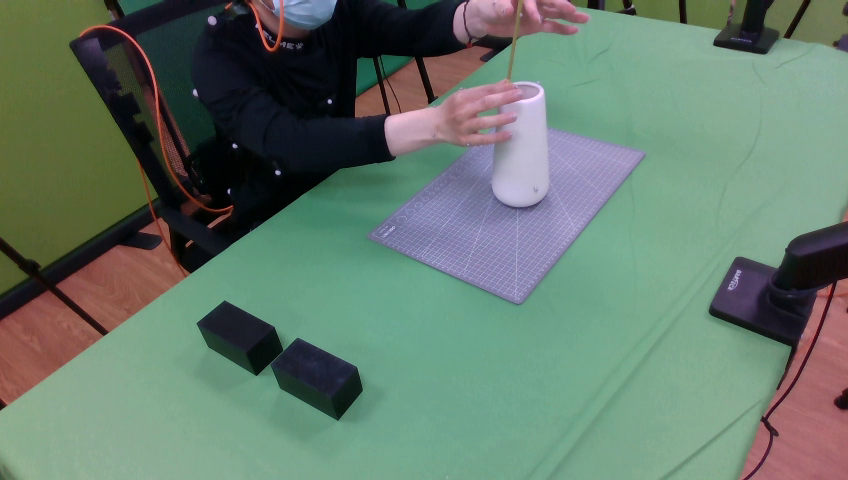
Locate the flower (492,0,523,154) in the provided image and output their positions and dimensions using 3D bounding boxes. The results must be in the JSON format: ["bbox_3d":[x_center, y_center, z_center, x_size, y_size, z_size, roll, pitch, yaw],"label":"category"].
[{"bbox_3d":[0.127,-0.267,0.876,0.044,0.362,0.038,19,49,12],"label":"flower"}]

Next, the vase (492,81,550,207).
[{"bbox_3d":[0.159,-0.151,0.982,0.098,0.201,0.097,-3,41,3],"label":"vase"}]
